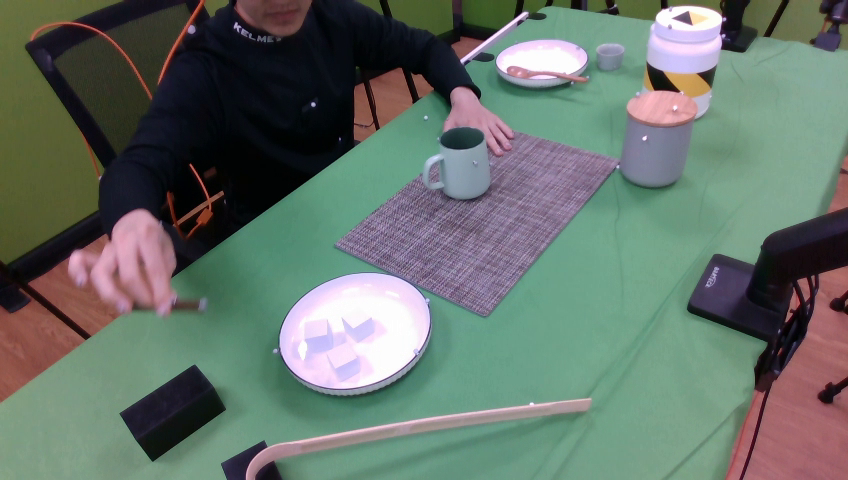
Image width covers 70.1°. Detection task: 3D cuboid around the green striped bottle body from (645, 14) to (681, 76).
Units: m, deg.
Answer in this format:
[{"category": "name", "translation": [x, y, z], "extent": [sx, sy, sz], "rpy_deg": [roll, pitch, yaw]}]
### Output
[{"category": "green striped bottle body", "translation": [0.520, -0.424, 1.312], "extent": [0.063, 0.120, 0.063], "rpy_deg": [-4, 41, 4]}]

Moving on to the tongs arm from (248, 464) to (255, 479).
[{"category": "tongs arm", "translation": [0.012, 0.262, 0.615], "extent": [0.385, 0.026, 0.050], "rpy_deg": [3, 42, -2]}]

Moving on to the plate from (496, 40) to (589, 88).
[{"category": "plate", "translation": [0.268, -0.398, 1.381], "extent": [0.209, 0.038, 0.208], "rpy_deg": [-4, 41, 4]}]

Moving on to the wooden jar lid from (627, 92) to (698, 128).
[{"category": "wooden jar lid", "translation": [0.384, -0.207, 0.980], "extent": [0.108, 0.021, 0.108], "rpy_deg": [-6, 39, 5]}]

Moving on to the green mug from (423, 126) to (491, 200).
[{"category": "green mug", "translation": [0.055, -0.125, 1.039], "extent": [0.126, 0.105, 0.091], "rpy_deg": [-25, 44, -19]}]

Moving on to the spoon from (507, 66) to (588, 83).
[{"category": "spoon", "translation": [0.265, -0.357, 1.311], "extent": [0.192, 0.022, 0.042], "rpy_deg": [18, 47, 38]}]

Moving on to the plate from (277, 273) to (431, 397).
[{"category": "plate", "translation": [-0.091, 0.129, 0.821], "extent": [0.207, 0.039, 0.206], "rpy_deg": [-4, 40, 4]}]

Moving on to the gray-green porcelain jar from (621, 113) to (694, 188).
[{"category": "gray-green porcelain jar", "translation": [0.390, -0.160, 1.020], "extent": [0.106, 0.127, 0.105], "rpy_deg": [-4, 41, 4]}]

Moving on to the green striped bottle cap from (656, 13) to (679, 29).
[{"category": "green striped bottle cap", "translation": [0.515, -0.463, 1.278], "extent": [0.044, 0.020, 0.044], "rpy_deg": [-6, 42, 6]}]

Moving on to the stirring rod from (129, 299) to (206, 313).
[{"category": "stirring rod", "translation": [-0.291, 0.073, 0.677], "extent": [0.175, 0.014, 0.006], "rpy_deg": [-4, 37, 42]}]

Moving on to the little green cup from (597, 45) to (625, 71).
[{"category": "little green cup", "translation": [0.422, -0.413, 1.375], "extent": [0.061, 0.039, 0.061], "rpy_deg": [-3, 41, 3]}]

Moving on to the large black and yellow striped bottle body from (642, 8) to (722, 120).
[{"category": "large black and yellow striped bottle body", "translation": [0.493, -0.334, 1.161], "extent": [0.131, 0.185, 0.130], "rpy_deg": [-4, 41, 4]}]

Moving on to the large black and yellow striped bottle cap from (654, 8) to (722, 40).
[{"category": "large black and yellow striped bottle cap", "translation": [0.483, -0.397, 1.108], "extent": [0.115, 0.019, 0.114], "rpy_deg": [-3, 41, 3]}]

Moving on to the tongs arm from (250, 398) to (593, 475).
[{"category": "tongs arm", "translation": [0.008, 0.212, 0.675], "extent": [0.389, 0.028, 0.028], "rpy_deg": [-5, 46, -11]}]
